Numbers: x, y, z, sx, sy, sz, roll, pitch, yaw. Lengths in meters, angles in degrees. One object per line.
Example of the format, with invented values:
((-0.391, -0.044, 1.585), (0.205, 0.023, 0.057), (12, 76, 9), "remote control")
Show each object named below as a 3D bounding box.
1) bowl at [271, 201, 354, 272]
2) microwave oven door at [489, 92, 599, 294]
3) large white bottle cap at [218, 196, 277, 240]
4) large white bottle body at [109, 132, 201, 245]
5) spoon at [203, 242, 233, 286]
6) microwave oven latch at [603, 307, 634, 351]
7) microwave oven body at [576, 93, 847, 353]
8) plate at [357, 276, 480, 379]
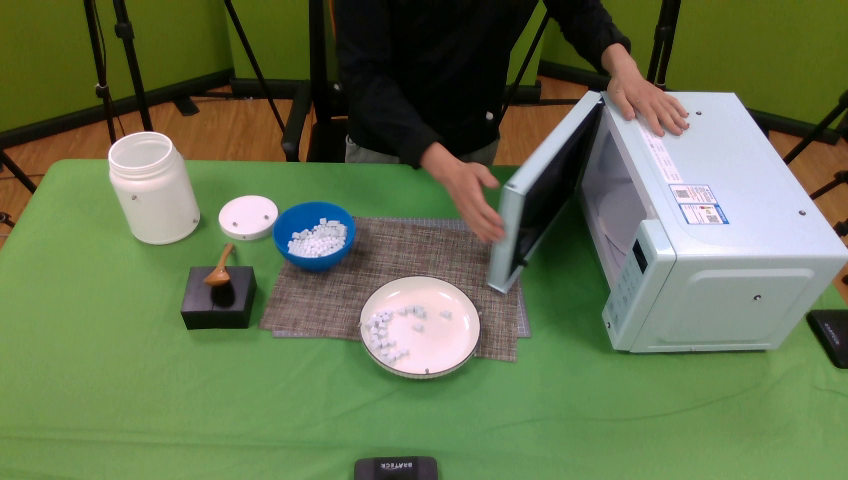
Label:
((-0.205, 0.006, 1.135), (0.151, 0.077, 0.150), (3, 46, -3), "bowl")
((0.230, -0.095, 1.136), (0.039, 0.245, 0.355), (25, 49, 19), "microwave oven door")
((-0.354, -0.045, 1.220), (0.115, 0.018, 0.114), (1, 45, -1), "large white bottle cap")
((-0.506, -0.097, 1.141), (0.131, 0.185, 0.130), (2, 46, -2), "large white bottle body")
((-0.360, 0.039, 1.087), (0.041, 0.022, 0.192), (-6, 24, -7), "spoon")
((0.332, 0.153, 1.044), (0.030, 0.029, 0.078), (0, 45, -3), "microwave oven latch")
((0.475, -0.041, 1.109), (0.326, 0.261, 0.438), (-1, 45, -4), "microwave oven body")
((-0.009, 0.151, 1.038), (0.209, 0.038, 0.208), (2, 47, -2), "plate")
